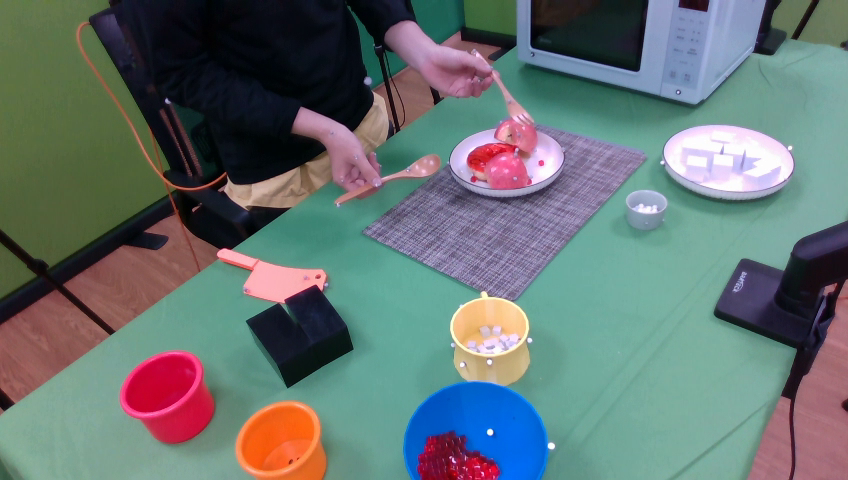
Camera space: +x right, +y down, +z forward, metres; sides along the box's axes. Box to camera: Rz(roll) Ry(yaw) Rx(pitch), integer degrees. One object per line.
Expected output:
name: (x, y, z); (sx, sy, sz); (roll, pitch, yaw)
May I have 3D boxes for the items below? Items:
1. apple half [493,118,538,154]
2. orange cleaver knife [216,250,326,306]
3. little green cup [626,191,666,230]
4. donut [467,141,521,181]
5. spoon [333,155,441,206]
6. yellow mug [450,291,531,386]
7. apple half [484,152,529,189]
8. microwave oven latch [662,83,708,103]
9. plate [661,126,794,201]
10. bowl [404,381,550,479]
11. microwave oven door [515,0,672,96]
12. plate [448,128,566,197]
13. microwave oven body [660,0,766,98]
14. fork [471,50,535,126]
apple half: (0.175, -0.196, 1.114); (0.080, 0.053, 0.075); (28, 12, 34)
orange cleaver knife: (-0.248, 0.058, 0.945); (0.210, 0.012, 0.077); (12, 49, 20)
little green cup: (0.352, -0.046, 0.963); (0.061, 0.039, 0.061); (-4, 40, 4)
donut: (0.126, -0.144, 1.091); (0.099, 0.048, 0.098); (-6, 38, 5)
spoon: (-0.059, -0.097, 0.979); (0.194, 0.022, 0.041); (-22, 57, -20)
yellow mug: (0.085, 0.120, 0.786); (0.100, 0.064, 0.130); (-7, 39, 1)
apple half: (0.144, -0.116, 1.032); (0.081, 0.033, 0.081); (3, 77, -11)
microwave oven latch: (0.518, -0.296, 1.204); (0.078, 0.029, 0.030); (28, 52, 35)
plate: (0.513, -0.128, 1.035); (0.207, 0.039, 0.206); (-4, 40, 4)
bowl: (0.058, 0.235, 0.645); (0.151, 0.077, 0.150); (-4, 39, 4)
microwave oven door: (0.343, -0.455, 1.259); (0.353, 0.245, 0.039); (26, 51, 33)
plate: (0.149, -0.138, 1.097); (0.209, 0.038, 0.208); (-4, 40, 4)
microwave oven body: (0.472, -0.513, 1.317); (0.438, 0.261, 0.327); (26, 51, 34)
fork: (0.131, -0.265, 1.044); (0.028, 0.019, 0.206); (-25, 62, -7)
